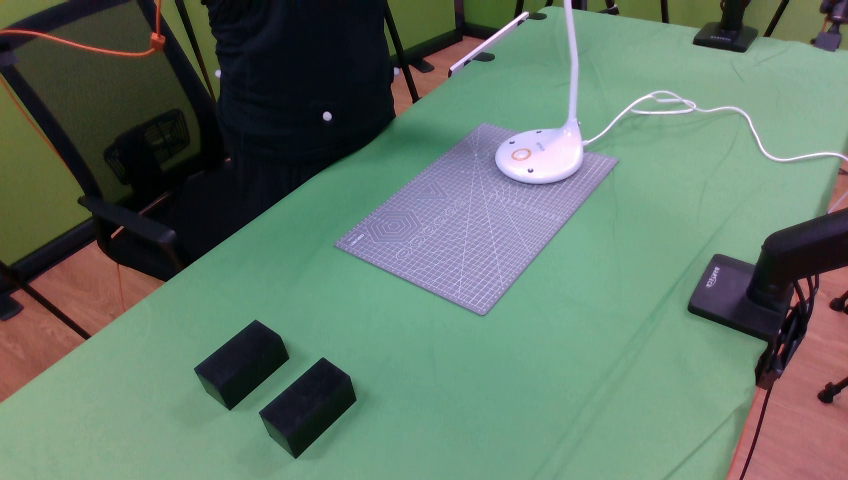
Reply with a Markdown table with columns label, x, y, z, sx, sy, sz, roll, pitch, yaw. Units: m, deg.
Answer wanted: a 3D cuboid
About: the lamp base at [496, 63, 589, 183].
| label | x | y | z | sx | sy | sz | roll | pitch | yaw |
| --- | --- | --- | --- | --- | --- | --- | --- | --- | --- |
| lamp base | 0.216 | -0.217 | 1.067 | 0.180 | 0.181 | 0.159 | -19 | 42 | -18 |
